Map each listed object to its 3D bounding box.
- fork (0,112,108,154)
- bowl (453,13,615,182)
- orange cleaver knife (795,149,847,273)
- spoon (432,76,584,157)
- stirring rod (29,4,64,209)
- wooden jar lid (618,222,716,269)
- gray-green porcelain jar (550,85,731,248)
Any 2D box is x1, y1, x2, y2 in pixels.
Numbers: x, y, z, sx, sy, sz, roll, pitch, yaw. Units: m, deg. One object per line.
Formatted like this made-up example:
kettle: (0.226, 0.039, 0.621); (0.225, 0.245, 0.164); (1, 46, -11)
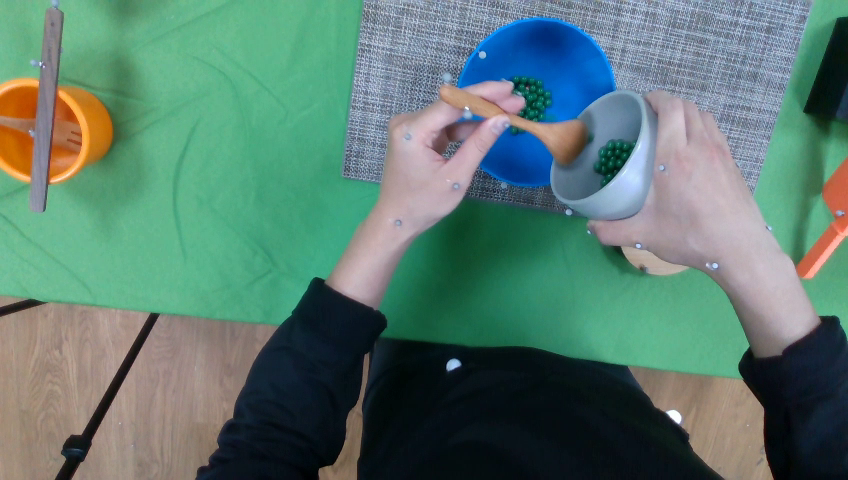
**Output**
fork: (-0.377, -0.111, 0.515); (0.028, 0.018, 0.209); (-51, 148, 17)
bowl: (0.098, -0.136, 0.585); (0.151, 0.076, 0.152); (-1, 107, -5)
orange cleaver knife: (0.453, -0.052, 0.644); (0.012, 0.076, 0.213); (4, 135, -9)
spoon: (0.073, -0.098, 0.475); (0.195, 0.021, 0.042); (7, 114, -43)
stirring rod: (-0.324, -0.111, 0.518); (0.014, 0.006, 0.176); (12, 106, -11)
wooden jar lid: (0.264, -0.020, 0.664); (0.108, 0.020, 0.109); (-1, 112, -2)
gray-green porcelain jar: (0.192, -0.058, 0.529); (0.127, 0.105, 0.106); (25, 103, -25)
